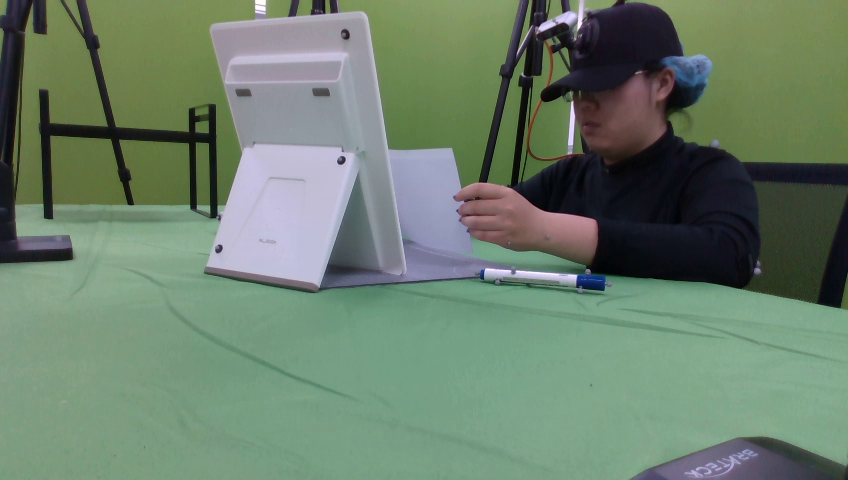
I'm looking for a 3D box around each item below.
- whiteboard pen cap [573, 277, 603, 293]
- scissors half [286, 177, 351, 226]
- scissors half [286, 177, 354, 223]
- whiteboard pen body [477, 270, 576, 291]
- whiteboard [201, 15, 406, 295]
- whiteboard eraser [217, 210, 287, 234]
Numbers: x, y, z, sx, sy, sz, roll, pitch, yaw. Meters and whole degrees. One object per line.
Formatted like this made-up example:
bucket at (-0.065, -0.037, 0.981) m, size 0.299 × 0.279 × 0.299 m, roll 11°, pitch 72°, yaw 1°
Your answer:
whiteboard pen cap at (0.186, 0.051, 0.687) m, size 0.033 × 0.018 × 0.018 m, roll 4°, pitch 7°, yaw 18°
scissors half at (-0.232, -0.085, 1.317) m, size 0.175 × 0.013 × 0.040 m, roll 37°, pitch 17°, yaw 5°
scissors half at (-0.229, -0.090, 1.337) m, size 0.175 × 0.013 × 0.040 m, roll 33°, pitch 12°, yaw -13°
whiteboard pen body at (0.131, 0.048, 0.706) m, size 0.140 × 0.017 × 0.017 m, roll 4°, pitch 7°, yaw 18°
whiteboard at (-0.167, -0.073, 0.668) m, size 0.216 × 0.305 × 0.144 m, roll 7°, pitch 30°, yaw 28°
whiteboard eraser at (-0.310, -0.034, 1.094) m, size 0.113 × 0.042 × 0.055 m, roll -2°, pitch 11°, yaw -38°
